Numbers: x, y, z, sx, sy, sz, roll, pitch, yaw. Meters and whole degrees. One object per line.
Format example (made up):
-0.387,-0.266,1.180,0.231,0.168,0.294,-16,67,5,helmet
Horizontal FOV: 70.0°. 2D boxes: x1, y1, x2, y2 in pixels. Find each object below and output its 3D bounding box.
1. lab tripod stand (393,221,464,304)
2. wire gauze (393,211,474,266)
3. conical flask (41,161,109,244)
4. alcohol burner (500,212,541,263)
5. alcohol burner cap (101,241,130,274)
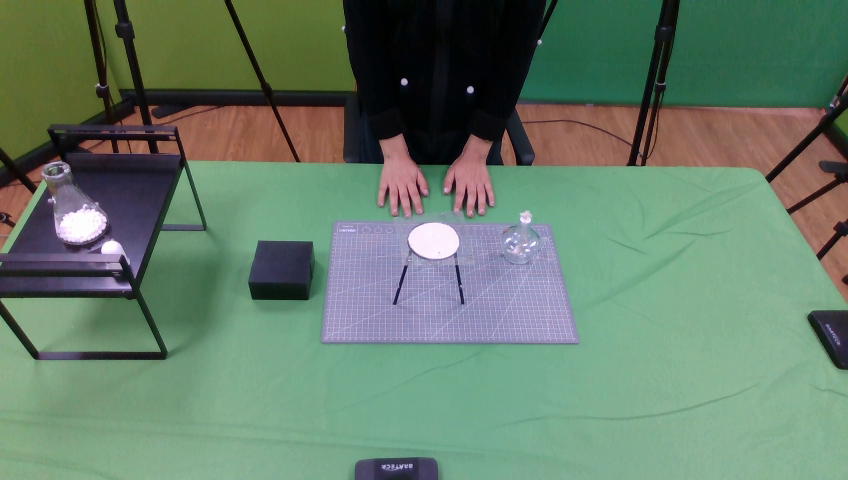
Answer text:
0.009,0.045,1.075,0.148,0.132,0.147,2,48,-2,lab tripod stand
0.015,-0.003,1.028,0.125,0.011,0.120,-4,47,-7,wire gauze
-0.522,-0.058,0.894,0.075,0.122,0.075,2,46,-2,conical flask
0.186,-0.011,1.156,0.078,0.120,0.077,1,48,-1,alcohol burner
-0.449,0.022,0.878,0.034,0.048,0.033,2,45,-2,alcohol burner cap
